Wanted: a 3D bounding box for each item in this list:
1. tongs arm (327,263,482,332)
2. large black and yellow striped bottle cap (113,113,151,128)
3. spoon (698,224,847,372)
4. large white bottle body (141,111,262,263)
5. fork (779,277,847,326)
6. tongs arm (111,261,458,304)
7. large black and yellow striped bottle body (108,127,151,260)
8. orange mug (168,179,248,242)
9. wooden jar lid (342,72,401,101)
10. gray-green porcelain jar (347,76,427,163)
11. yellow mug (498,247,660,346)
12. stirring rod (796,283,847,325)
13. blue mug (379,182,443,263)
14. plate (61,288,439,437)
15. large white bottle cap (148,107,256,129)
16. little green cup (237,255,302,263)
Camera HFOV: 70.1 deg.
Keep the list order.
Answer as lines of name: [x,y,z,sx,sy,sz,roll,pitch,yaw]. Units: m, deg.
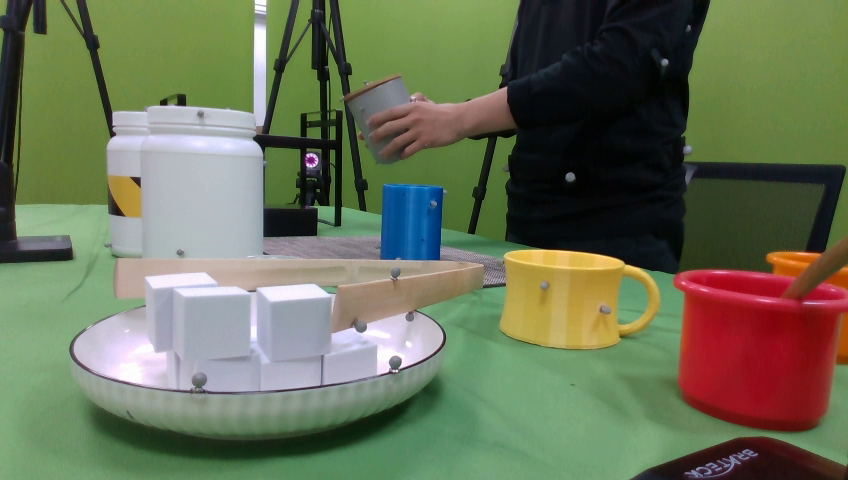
tongs arm: [-0.003,0.036,0.493,0.050,0.026,0.386,1,0,19]
large black and yellow striped bottle cap: [-0.348,-0.154,0.800,0.115,0.019,0.115,2,6,0]
spoon: [0.195,0.032,0.323,0.041,0.021,0.194,1,-36,2]
large white bottle body: [-0.254,-0.053,0.697,0.131,0.184,0.130,2,7,0]
fork: [0.335,0.018,0.443,0.028,0.018,0.207,-1,-36,-20]
tongs arm: [-0.080,0.032,0.527,0.028,0.027,0.389,-3,-3,33]
large black and yellow striped bottle body: [-0.350,-0.071,0.812,0.131,0.184,0.130,2,7,0]
orange mug: [-0.351,-0.050,0.986,0.126,0.101,0.083,-3,8,-9]
wooden jar lid: [-0.088,-0.261,1.047,0.108,0.021,0.108,-23,12,6]
gray-green porcelain jar: [-0.061,-0.206,1.060,0.106,0.126,0.106,-25,12,6]
yellow mug: [0.130,0.045,0.508,0.131,0.064,0.100,4,7,6]
stirring rod: [0.347,0.019,0.460,0.014,0.176,0.006,-16,59,-26]
blue mug: [-0.020,-0.026,0.833,0.082,0.106,0.116,1,7,-7]
plate: [-0.095,0.069,0.362,0.208,0.039,0.207,3,7,0]
large white bottle cap: [-0.250,-0.137,0.686,0.115,0.018,0.115,2,8,0]
little green cup: [-0.150,0.038,0.589,0.061,0.038,0.061,3,6,0]
